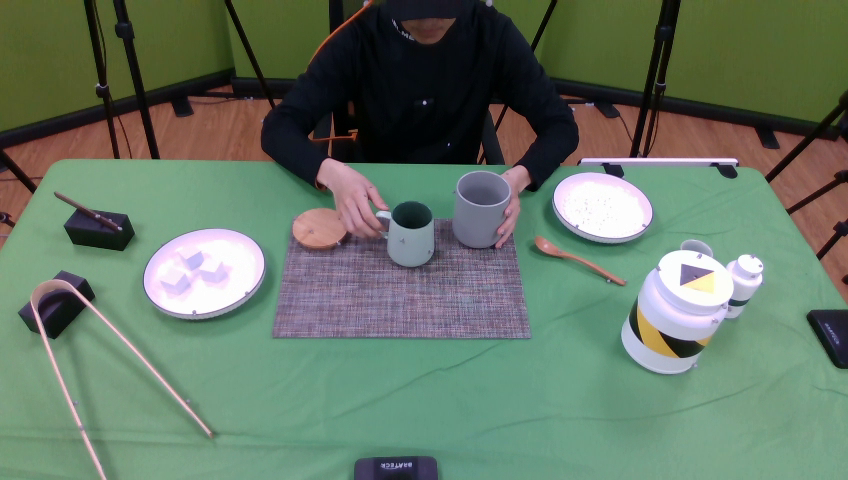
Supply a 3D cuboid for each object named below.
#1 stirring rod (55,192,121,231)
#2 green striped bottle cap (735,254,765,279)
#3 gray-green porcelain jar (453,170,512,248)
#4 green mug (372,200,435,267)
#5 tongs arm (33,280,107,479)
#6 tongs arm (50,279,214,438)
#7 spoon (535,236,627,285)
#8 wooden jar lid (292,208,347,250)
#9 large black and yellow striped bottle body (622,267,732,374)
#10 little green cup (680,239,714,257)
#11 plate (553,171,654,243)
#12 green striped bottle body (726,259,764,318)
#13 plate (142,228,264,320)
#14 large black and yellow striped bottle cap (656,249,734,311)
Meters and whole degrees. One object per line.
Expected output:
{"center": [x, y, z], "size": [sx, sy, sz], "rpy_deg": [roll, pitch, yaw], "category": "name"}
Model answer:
{"center": [-0.632, -0.055, 1.138], "size": [0.175, 0.014, 0.006], "rpy_deg": [24, 50, 19], "category": "stirring rod"}
{"center": [0.566, 0.046, 1.051], "size": [0.044, 0.020, 0.044], "rpy_deg": [0, 45, 0], "category": "green striped bottle cap"}
{"center": [0.110, -0.056, 1.179], "size": [0.106, 0.127, 0.105], "rpy_deg": [2, 47, -2], "category": "gray-green porcelain jar"}
{"center": [-0.040, -0.015, 1.145], "size": [0.125, 0.105, 0.092], "rpy_deg": [16, 48, 12], "category": "green mug"}
{"center": [-0.517, 0.214, 0.909], "size": [0.051, 0.026, 0.383], "rpy_deg": [-28, 63, -27], "category": "tongs arm"}
{"center": [-0.459, 0.178, 0.949], "size": [0.386, 0.028, 0.028], "rpy_deg": [37, 60, 17], "category": "tongs arm"}
{"center": [0.303, 0.040, 1.178], "size": [0.193, 0.022, 0.041], "rpy_deg": [25, 33, 20], "category": "spoon"}
{"center": [-0.206, -0.020, 1.196], "size": [0.108, 0.021, 0.107], "rpy_deg": [3, 46, -3], "category": "wooden jar lid"}
{"center": [0.415, 0.119, 0.997], "size": [0.131, 0.185, 0.130], "rpy_deg": [2, 46, -2], "category": "large black and yellow striped bottle body"}
{"center": [0.530, 0.033, 1.189], "size": [0.061, 0.039, 0.061], "rpy_deg": [2, 47, -2], "category": "little green cup"}
{"center": [0.373, -0.066, 1.275], "size": [0.209, 0.038, 0.208], "rpy_deg": [2, 46, -2], "category": "plate"}
{"center": [0.563, 0.081, 1.089], "size": [0.063, 0.120, 0.063], "rpy_deg": [2, 46, -2], "category": "green striped bottle body"}
{"center": [-0.394, 0.064, 1.095], "size": [0.208, 0.039, 0.206], "rpy_deg": [2, 46, -2], "category": "plate"}
{"center": [0.419, 0.061, 0.938], "size": [0.115, 0.019, 0.114], "rpy_deg": [2, 47, -2], "category": "large black and yellow striped bottle cap"}
